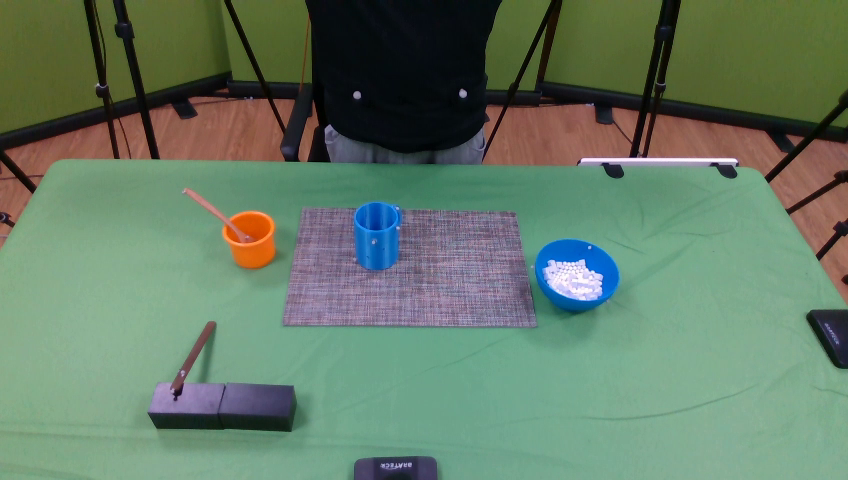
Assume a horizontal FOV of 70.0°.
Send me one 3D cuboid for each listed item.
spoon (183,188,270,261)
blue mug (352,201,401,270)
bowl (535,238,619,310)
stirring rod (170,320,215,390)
[{"bbox_3d":[-0.360,-0.029,1.110,0.021,0.194,0.041,-21,31,41],"label":"spoon"},{"bbox_3d":[-0.082,-0.017,1.144,0.082,0.106,0.116,30,51,22],"label":"blue mug"},{"bbox_3d":[0.270,0.076,1.107,0.151,0.077,0.150,2,46,-2],"label":"bowl"},{"bbox_3d":[-0.368,0.180,0.969,0.014,0.006,0.175,0,27,0],"label":"stirring rod"}]
